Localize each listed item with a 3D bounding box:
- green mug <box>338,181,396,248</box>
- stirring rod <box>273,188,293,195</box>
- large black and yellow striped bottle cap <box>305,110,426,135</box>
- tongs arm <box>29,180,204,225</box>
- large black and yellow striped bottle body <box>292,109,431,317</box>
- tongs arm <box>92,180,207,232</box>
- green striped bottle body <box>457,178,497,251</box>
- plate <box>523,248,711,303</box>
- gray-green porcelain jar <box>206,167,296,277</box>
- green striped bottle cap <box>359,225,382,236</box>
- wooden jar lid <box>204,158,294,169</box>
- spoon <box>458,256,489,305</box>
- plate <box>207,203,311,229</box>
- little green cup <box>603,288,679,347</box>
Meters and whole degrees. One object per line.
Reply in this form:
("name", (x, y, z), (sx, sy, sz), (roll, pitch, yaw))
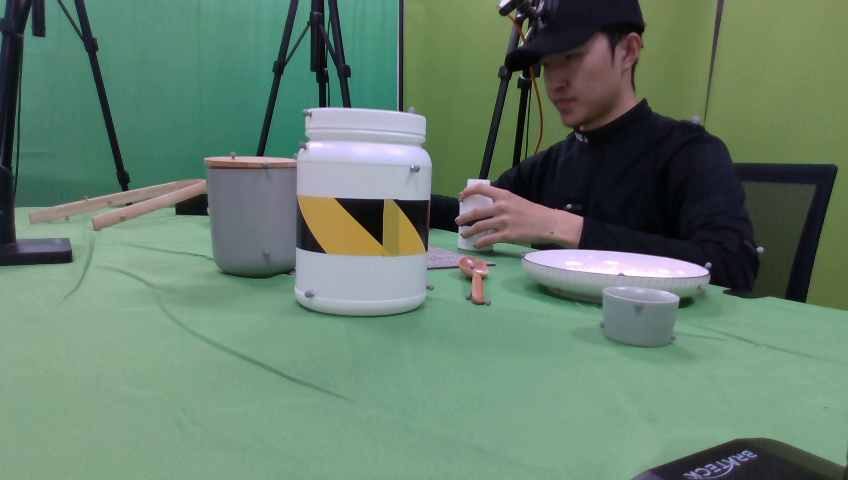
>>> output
("green mug", (-0.098, -0.044, 0.995), (0.093, 0.105, 0.125), (-1, 8, -21))
("stirring rod", (-0.353, -0.122, 1.518), (0.006, 0.014, 0.176), (1, 7, 2))
("large black and yellow striped bottle cap", (-0.055, -0.110, 0.574), (0.115, 0.019, 0.115), (1, 7, 0))
("tongs arm", (-0.609, -0.083, 1.245), (0.050, 0.026, 0.386), (5, 16, 23))
("large black and yellow striped bottle body", (-0.060, -0.028, 0.585), (0.131, 0.184, 0.130), (3, 7, 0))
("tongs arm", (-0.534, -0.076, 1.221), (0.028, 0.028, 0.388), (-2, 15, 12))
("green striped bottle body", (0.090, -0.044, 1.024), (0.063, 0.119, 0.063), (3, 8, 0))
("plate", (0.219, 0.041, 0.706), (0.209, 0.038, 0.209), (2, 7, 0))
("gray-green porcelain jar", (-0.201, -0.024, 0.724), (0.106, 0.126, 0.106), (-1, 9, 1))
("green striped bottle cap", (-0.101, -0.017, 1.137), (0.044, 0.020, 0.044), (1, 7, 0))
("wooden jar lid", (-0.202, -0.086, 0.714), (0.108, 0.020, 0.108), (3, 10, 0))
("spoon", (0.059, 0.044, 0.696), (0.041, 0.021, 0.194), (20, 7, 0))
("plate", (-0.342, -0.050, 1.259), (0.208, 0.039, 0.207), (2, 7, 0))
("little green cup", (0.180, 0.064, 0.505), (0.061, 0.038, 0.061), (2, 7, 0))
